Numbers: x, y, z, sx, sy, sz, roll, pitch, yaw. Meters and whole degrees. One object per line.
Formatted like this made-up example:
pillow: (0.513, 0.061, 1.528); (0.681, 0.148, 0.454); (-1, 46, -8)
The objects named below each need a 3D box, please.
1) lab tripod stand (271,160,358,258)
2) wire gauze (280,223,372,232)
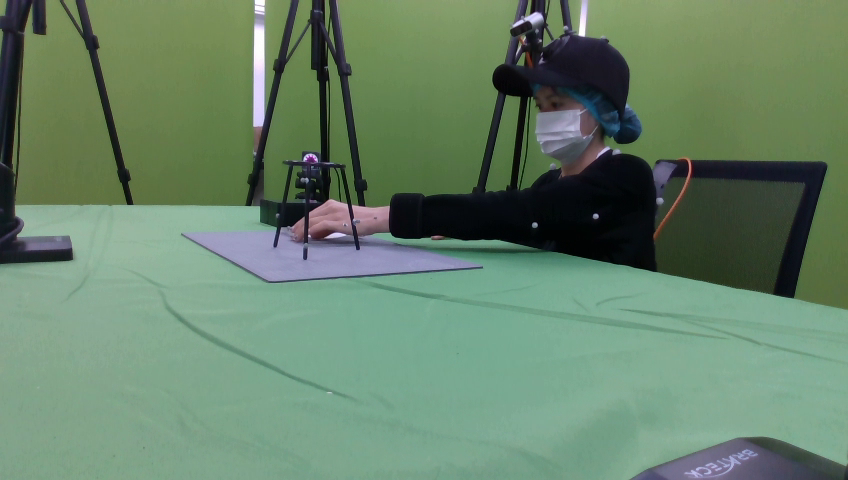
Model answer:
lab tripod stand: (-0.160, -0.048, 0.876); (0.148, 0.131, 0.148); (3, 5, 0)
wire gauze: (-0.174, -0.025, 1.072); (0.121, 0.011, 0.126); (6, 2, 38)
